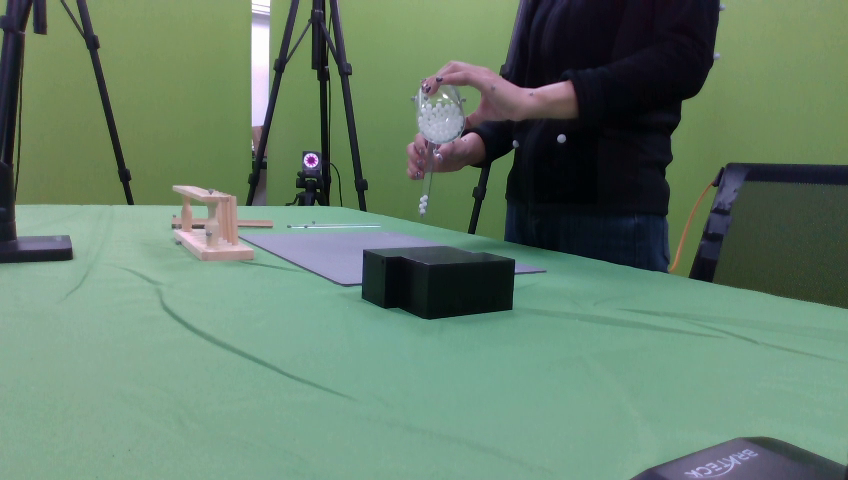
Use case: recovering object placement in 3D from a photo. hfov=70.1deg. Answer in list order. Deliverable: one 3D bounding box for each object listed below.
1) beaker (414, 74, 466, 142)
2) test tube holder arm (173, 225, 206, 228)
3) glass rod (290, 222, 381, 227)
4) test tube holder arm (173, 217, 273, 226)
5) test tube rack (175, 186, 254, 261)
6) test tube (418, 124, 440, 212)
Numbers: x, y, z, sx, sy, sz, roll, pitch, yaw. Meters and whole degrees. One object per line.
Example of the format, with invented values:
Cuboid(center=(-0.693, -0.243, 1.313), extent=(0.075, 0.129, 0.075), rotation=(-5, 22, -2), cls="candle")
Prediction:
Cuboid(center=(0.023, -0.191, 0.890), extent=(0.074, 0.084, 0.100), rotation=(3, 30, -5), cls="beaker")
Cuboid(center=(-0.415, -0.030, 1.113), extent=(0.088, 0.015, 0.010), rotation=(-1, -22, -25), cls="test tube holder arm")
Cuboid(center=(-0.178, -0.033, 1.247), extent=(0.201, 0.008, 0.008), rotation=(-2, 8, -30), cls="glass rod")
Cuboid(center=(-0.371, -0.033, 1.128), extent=(0.179, 0.015, 0.013), rotation=(-1, -22, -26), cls="test tube holder arm")
Cuboid(center=(-0.314, -0.031, 0.889), extent=(0.067, 0.085, 0.241), rotation=(-2, 8, -30), cls="test tube rack")
Cuboid(center=(0.008, -0.114, 0.980), extent=(0.017, 0.150, 0.017), rotation=(7, 25, -3), cls="test tube")
